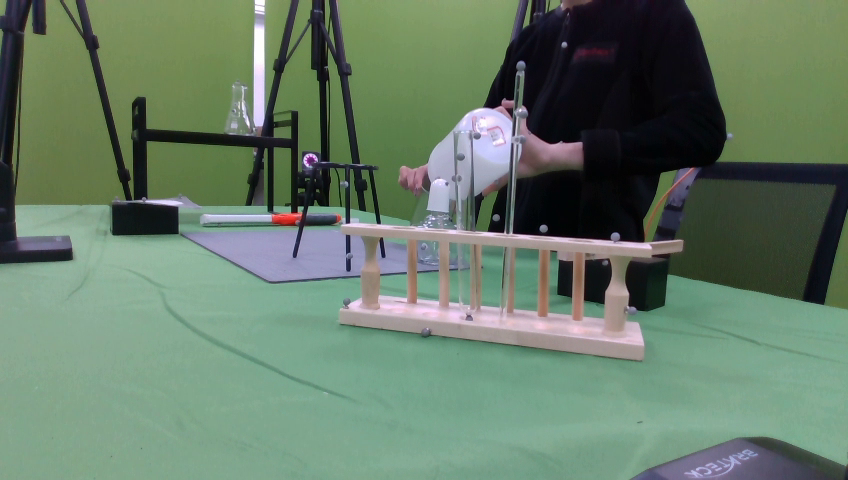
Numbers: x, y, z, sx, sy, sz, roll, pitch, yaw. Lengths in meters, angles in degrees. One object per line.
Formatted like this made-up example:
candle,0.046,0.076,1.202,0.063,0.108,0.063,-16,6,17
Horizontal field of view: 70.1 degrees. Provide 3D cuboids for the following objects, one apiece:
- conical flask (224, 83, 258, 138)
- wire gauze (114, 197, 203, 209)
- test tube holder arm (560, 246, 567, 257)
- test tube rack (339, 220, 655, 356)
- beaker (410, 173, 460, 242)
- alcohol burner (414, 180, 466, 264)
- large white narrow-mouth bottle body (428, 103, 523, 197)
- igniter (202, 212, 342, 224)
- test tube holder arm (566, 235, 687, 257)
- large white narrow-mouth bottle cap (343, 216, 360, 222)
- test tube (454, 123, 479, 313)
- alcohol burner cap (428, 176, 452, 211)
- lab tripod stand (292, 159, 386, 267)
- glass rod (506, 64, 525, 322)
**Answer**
conical flask,-0.422,-0.299,1.395,0.075,0.122,0.075,2,7,0
wire gauze,-0.447,-0.062,1.015,0.126,0.011,0.121,-2,8,-31
test tube holder arm,0.173,0.007,0.611,0.088,0.015,0.010,-3,9,-30
test tube rack,0.056,0.032,0.495,0.242,0.085,0.067,4,7,15
beaker,0.019,-0.052,1.038,0.074,0.100,0.083,5,34,-18
alcohol burner,0.021,-0.028,0.826,0.078,0.119,0.078,0,6,0
large white narrow-mouth bottle body,0.063,-0.122,0.925,0.102,0.101,0.194,-1,-17,-25
igniter,-0.298,-0.044,1.216,0.278,0.025,0.057,-2,-2,-32
test tube holder arm,0.215,0.006,0.630,0.179,0.015,0.013,-3,9,-31
large white narrow-mouth bottle cap,-0.148,-0.036,1.234,0.038,0.024,0.037,2,8,0
test tube,0.034,-0.016,0.477,0.017,0.150,0.017,-2,9,1
alcohol burner cap,0.023,-0.064,0.822,0.034,0.048,0.034,7,5,0
lab tripod stand,-0.105,-0.039,0.798,0.148,0.131,0.148,2,5,0
glass rod,0.069,-0.030,0.458,0.008,0.199,0.008,0,15,0
